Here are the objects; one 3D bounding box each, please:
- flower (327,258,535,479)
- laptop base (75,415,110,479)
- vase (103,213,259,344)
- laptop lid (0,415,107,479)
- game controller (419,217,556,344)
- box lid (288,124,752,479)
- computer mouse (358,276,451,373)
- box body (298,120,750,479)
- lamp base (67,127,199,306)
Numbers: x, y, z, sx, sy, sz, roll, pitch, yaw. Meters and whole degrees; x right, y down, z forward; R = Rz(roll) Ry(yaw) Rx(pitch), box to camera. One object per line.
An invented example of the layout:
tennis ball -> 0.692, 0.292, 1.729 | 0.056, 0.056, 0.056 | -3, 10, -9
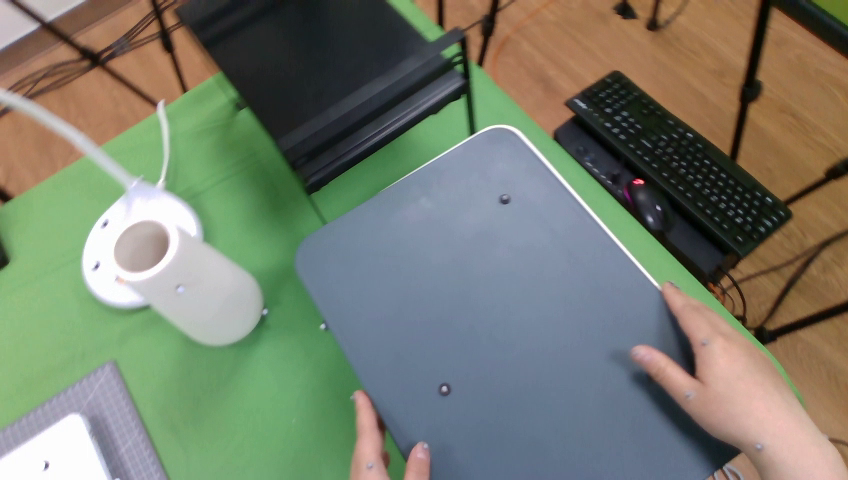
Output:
flower -> 0.024, 0.154, 0.637 | 0.360, 0.038, 0.044 | 47, 35, 13
laptop base -> -0.472, 0.379, 0.630 | 0.354, 0.023, 0.233 | -35, 70, -9
vase -> -0.256, 0.045, 0.654 | 0.098, 0.202, 0.097 | -3, 65, 8
laptop lid -> -0.472, 0.377, 0.618 | 0.357, 0.013, 0.239 | -34, 69, -8
game controller -> 0.067, 0.038, 0.695 | 0.155, 0.052, 0.096 | -33, 61, -10
box lid -> 0.065, 0.073, 0.534 | 0.263, 0.015, 0.368 | -33, 66, -8
computer mouse -> -0.025, 0.091, 0.685 | 0.063, 0.041, 0.116 | -40, 59, -7
box body -> 0.081, 0.097, 0.609 | 0.254, 0.162, 0.361 | -33, 66, -8
lamp base -> -0.378, -0.034, 0.715 | 0.160, 0.182, 0.177 | -4, 63, 5
